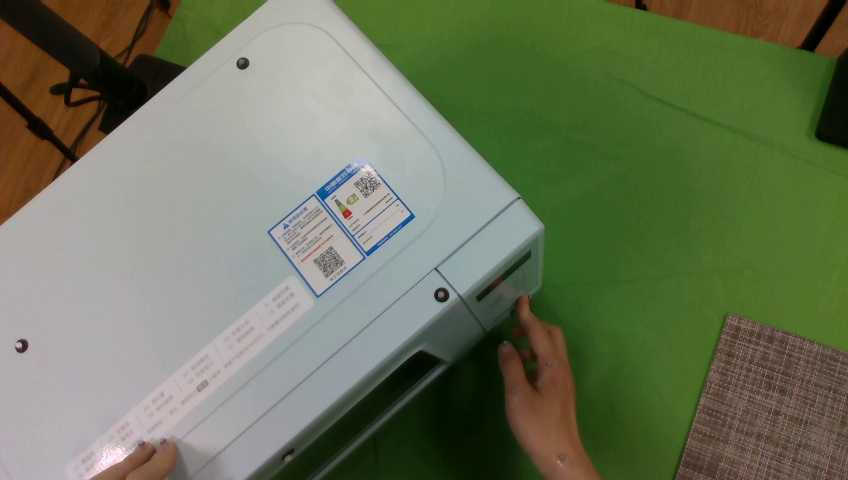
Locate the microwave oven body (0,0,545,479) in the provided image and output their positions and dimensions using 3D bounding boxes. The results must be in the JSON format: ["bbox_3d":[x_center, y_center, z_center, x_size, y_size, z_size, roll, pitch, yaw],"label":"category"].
[{"bbox_3d":[-0.157,0.043,0.576,0.441,0.262,0.324,-41,73,-1],"label":"microwave oven body"}]

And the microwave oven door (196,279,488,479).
[{"bbox_3d":[-0.098,0.174,0.528,0.356,0.245,0.039,-41,72,-2],"label":"microwave oven door"}]

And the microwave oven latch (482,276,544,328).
[{"bbox_3d":[0.088,0.057,0.630,0.079,0.030,0.030,-38,73,0],"label":"microwave oven latch"}]
